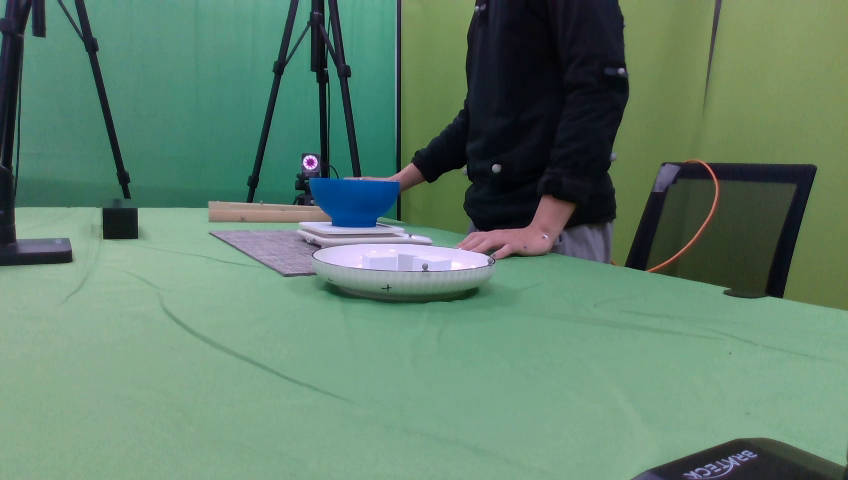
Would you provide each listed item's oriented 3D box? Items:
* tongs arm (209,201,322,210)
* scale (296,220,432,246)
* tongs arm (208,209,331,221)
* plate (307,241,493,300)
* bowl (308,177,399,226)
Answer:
[{"bbox_3d":[-0.306,-0.071,1.430,0.386,0.026,0.050,1,8,-15],"label":"tongs arm"},{"bbox_3d":[-0.101,-0.012,1.017,0.202,0.031,0.148,-2,8,-30],"label":"scale"},{"bbox_3d":[-0.280,-0.056,1.355,0.389,0.028,0.028,-1,6,-28],"label":"tongs arm"},{"bbox_3d":[-0.027,0.034,0.684,0.208,0.039,0.207,2,7,0],"label":"plate"},{"bbox_3d":[-0.117,-0.064,1.001,0.151,0.077,0.151,2,6,0],"label":"bowl"}]
